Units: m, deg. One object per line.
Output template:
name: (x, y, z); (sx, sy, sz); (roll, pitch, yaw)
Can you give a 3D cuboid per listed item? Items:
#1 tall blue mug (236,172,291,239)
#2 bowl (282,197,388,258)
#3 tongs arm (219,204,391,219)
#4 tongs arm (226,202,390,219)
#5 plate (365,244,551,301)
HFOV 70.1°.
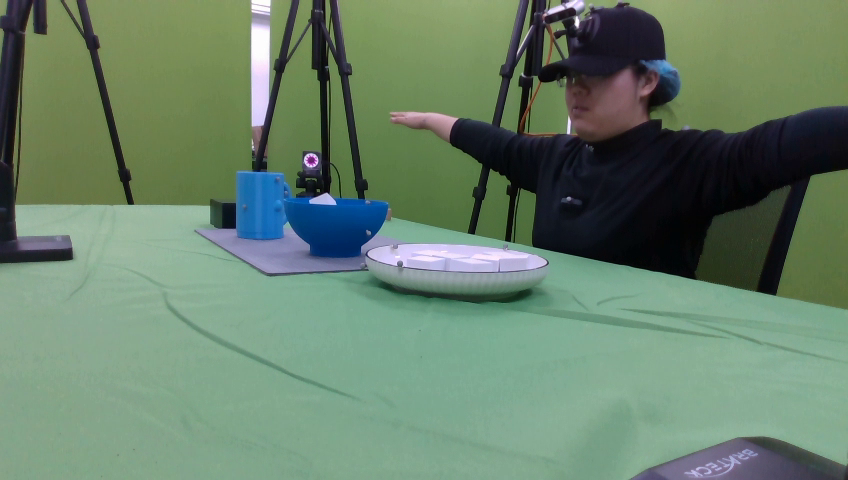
tall blue mug: (-0.273, -0.061, 1.026); (0.078, 0.108, 0.107); (2, 7, -1)
bowl: (-0.127, -0.018, 0.868); (0.151, 0.077, 0.151); (3, 7, 0)
tongs arm: (-0.258, -0.065, 1.367); (0.386, 0.026, 0.050); (1, 3, -17)
tongs arm: (-0.275, -0.071, 1.446); (0.388, 0.027, 0.028); (2, -1, -4)
plate: (0.038, 0.035, 0.685); (0.209, 0.038, 0.209); (2, 7, 0)
